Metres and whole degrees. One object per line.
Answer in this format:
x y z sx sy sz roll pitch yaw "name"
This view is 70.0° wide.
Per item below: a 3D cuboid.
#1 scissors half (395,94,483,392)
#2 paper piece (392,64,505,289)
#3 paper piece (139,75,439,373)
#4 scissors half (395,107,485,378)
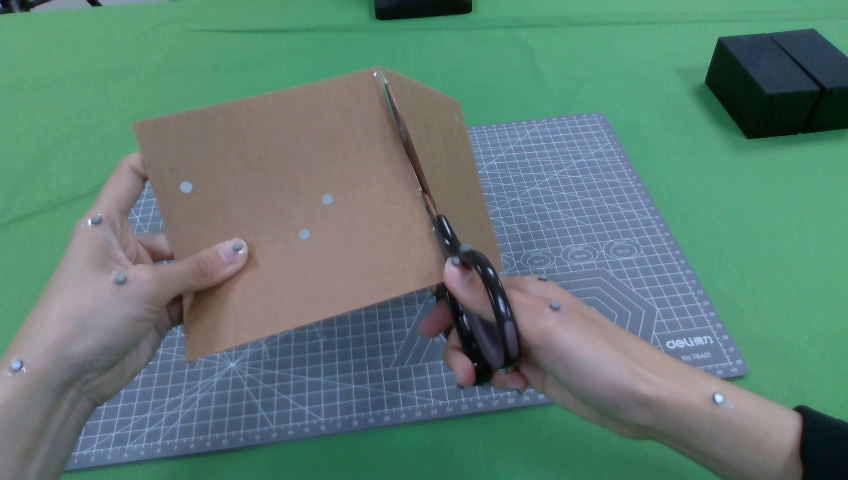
0.004 -0.002 0.339 0.013 0.040 0.174 -13 81 -6 "scissors half"
0.020 -0.037 0.403 0.008 0.136 0.138 -11 -1 22 "paper piece"
-0.068 -0.014 0.324 0.136 0.004 0.135 -16 80 -12 "paper piece"
0.003 -0.011 0.319 0.013 0.040 0.173 -15 55 -2 "scissors half"
